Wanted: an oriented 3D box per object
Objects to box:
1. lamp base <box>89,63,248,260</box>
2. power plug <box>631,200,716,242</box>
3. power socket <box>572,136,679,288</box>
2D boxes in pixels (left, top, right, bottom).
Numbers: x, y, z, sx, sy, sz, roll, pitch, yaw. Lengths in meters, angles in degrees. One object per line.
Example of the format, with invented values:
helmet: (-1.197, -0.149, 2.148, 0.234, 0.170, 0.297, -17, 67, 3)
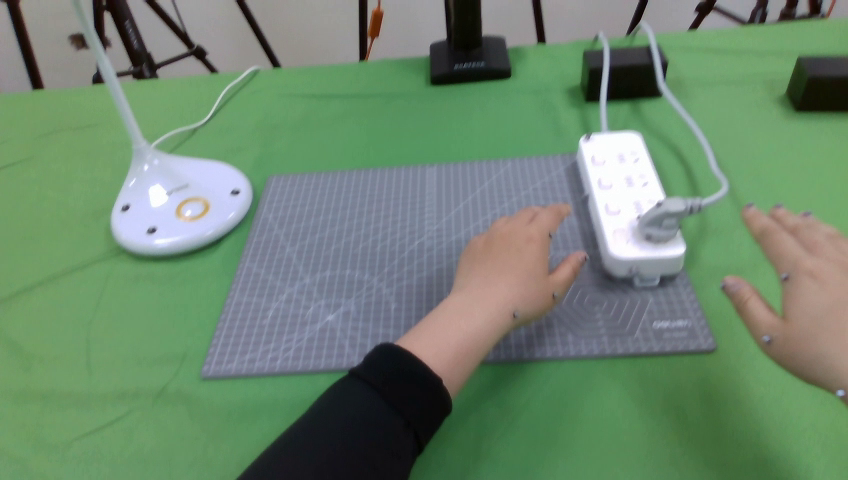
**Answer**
lamp base: (-0.305, -0.095, 0.665, 0.177, 0.182, 0.160, 24, 51, 33)
power plug: (0.233, -0.011, 0.569, 0.072, 0.053, 0.035, 5, 43, 12)
power socket: (0.207, -0.041, 0.641, 0.072, 0.033, 0.224, -2, 42, 4)
